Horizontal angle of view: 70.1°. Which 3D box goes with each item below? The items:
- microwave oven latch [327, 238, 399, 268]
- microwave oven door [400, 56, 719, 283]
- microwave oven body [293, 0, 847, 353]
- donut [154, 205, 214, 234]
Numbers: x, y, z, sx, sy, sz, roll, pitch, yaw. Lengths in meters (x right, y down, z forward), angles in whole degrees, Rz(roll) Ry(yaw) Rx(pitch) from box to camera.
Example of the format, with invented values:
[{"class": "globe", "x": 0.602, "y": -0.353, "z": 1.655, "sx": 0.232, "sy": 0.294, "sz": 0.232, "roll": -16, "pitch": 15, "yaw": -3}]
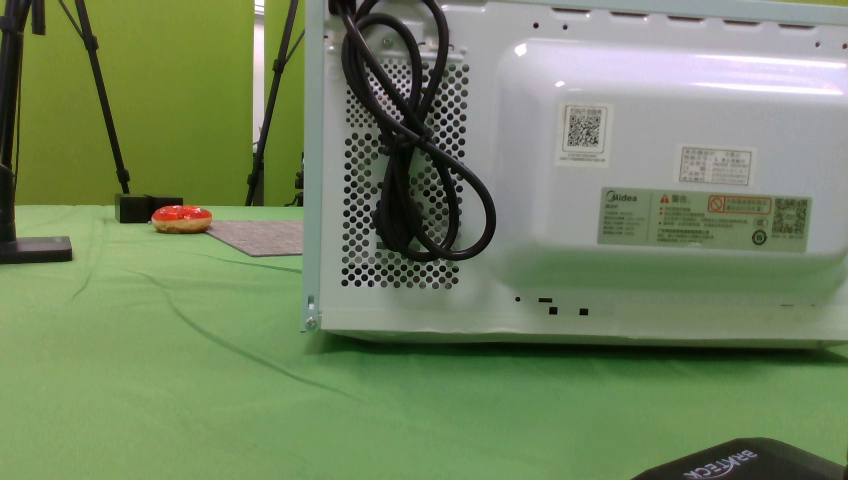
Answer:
[{"class": "microwave oven latch", "x": -0.069, "y": 0.015, "z": 0.694, "sx": 0.079, "sy": 0.029, "sz": 0.030, "roll": 3, "pitch": 7, "yaw": -3}, {"class": "microwave oven door", "x": 0.155, "y": -0.077, "z": 0.697, "sx": 0.356, "sy": 0.243, "sz": 0.039, "roll": 2, "pitch": 8, "yaw": -5}, {"class": "microwave oven body", "x": 0.122, "y": -0.055, "z": 0.550, "sx": 0.442, "sy": 0.260, "sz": 0.325, "roll": 3, "pitch": 7, "yaw": -5}, {"class": "donut", "x": -0.426, "y": -0.037, "z": 1.075, "sx": 0.099, "sy": 0.048, "sz": 0.099, "roll": 2, "pitch": 12, "yaw": 0}]
